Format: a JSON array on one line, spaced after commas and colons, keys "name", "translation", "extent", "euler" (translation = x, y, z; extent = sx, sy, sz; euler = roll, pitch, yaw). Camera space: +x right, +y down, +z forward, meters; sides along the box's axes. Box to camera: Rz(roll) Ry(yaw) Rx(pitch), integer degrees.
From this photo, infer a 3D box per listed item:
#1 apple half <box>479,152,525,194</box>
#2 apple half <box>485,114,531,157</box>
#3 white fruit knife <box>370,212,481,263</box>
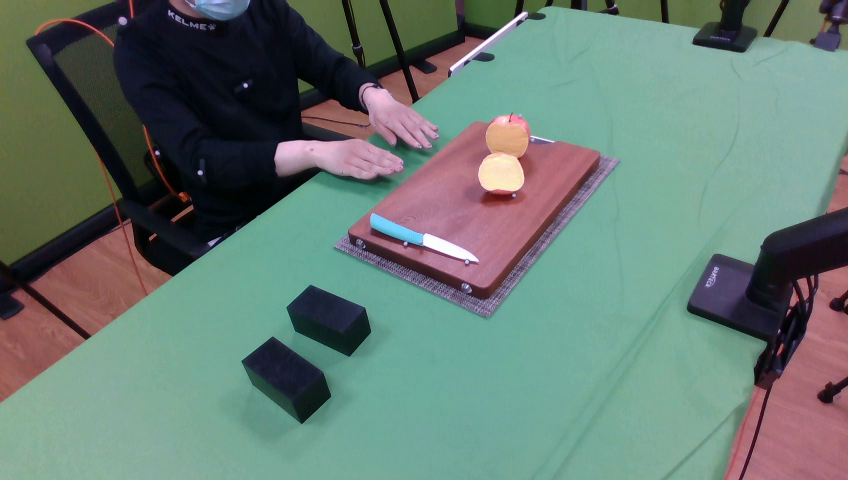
[{"name": "apple half", "translation": [0.131, -0.108, 1.016], "extent": [0.081, 0.033, 0.081], "euler": [0, 66, 1]}, {"name": "apple half", "translation": [0.154, -0.190, 1.084], "extent": [0.080, 0.075, 0.053], "euler": [5, 37, 20]}, {"name": "white fruit knife", "translation": [-0.003, -0.002, 0.930], "extent": [0.206, 0.016, 0.027], "euler": [20, 62, 26]}]
